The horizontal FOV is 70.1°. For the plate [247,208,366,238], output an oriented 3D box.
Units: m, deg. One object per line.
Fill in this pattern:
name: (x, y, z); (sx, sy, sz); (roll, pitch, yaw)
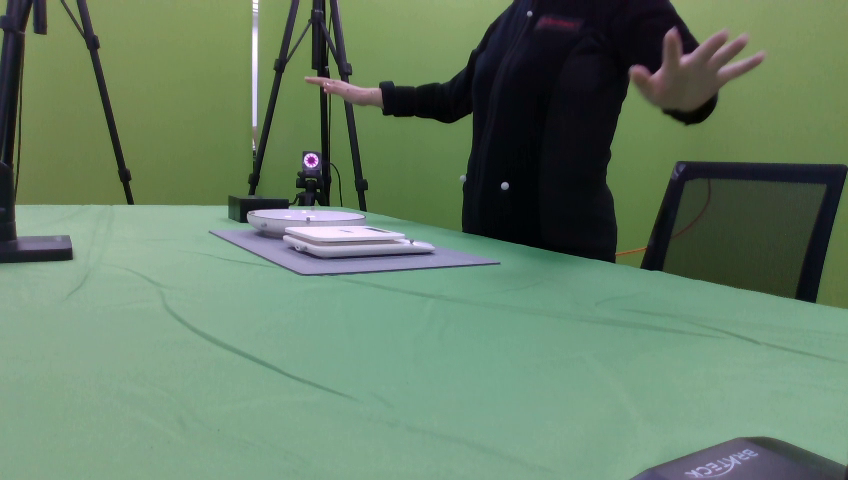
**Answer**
plate: (-0.208, -0.030, 1.082); (0.209, 0.038, 0.209); (2, 7, 0)

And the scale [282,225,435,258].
scale: (-0.098, 0.000, 0.914); (0.202, 0.031, 0.148); (-2, 9, -33)
